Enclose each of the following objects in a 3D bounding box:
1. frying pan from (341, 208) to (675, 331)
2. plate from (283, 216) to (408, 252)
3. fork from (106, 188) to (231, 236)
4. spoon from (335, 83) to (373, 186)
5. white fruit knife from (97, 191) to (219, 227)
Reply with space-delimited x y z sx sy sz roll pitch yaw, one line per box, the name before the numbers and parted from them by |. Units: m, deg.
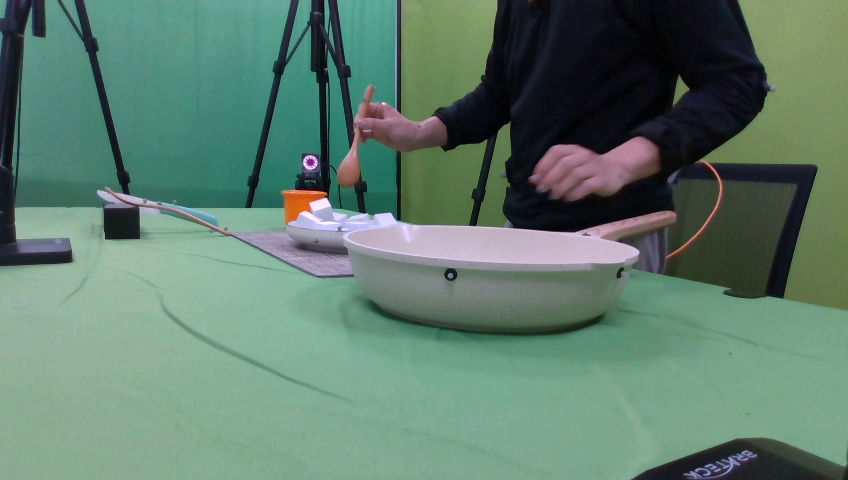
frying pan | 0.144 0.008 0.677 0.490 0.102 0.305 -13 16 -36
plate | -0.119 -0.010 0.968 0.208 0.039 0.207 3 7 0
fork | -0.428 -0.046 1.021 0.208 0.018 0.028 19 -6 -26
spoon | -0.123 -0.192 1.093 0.042 0.193 0.021 15 -8 -22
white fruit knife | -0.468 -0.056 1.079 0.208 0.027 0.016 15 -2 -29
